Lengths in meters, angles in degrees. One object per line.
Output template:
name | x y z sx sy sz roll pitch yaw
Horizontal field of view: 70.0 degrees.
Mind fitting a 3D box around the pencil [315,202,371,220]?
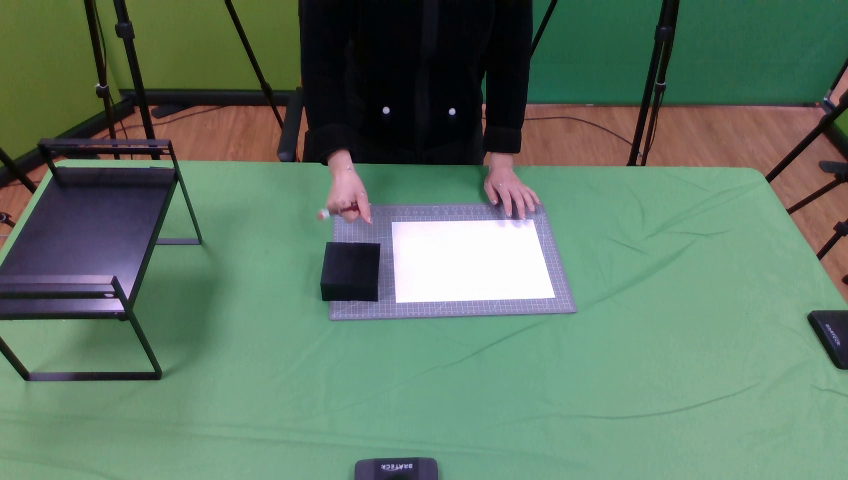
pencil | -0.142 -0.055 1.101 0.012 0.012 0.194 23 19 18
